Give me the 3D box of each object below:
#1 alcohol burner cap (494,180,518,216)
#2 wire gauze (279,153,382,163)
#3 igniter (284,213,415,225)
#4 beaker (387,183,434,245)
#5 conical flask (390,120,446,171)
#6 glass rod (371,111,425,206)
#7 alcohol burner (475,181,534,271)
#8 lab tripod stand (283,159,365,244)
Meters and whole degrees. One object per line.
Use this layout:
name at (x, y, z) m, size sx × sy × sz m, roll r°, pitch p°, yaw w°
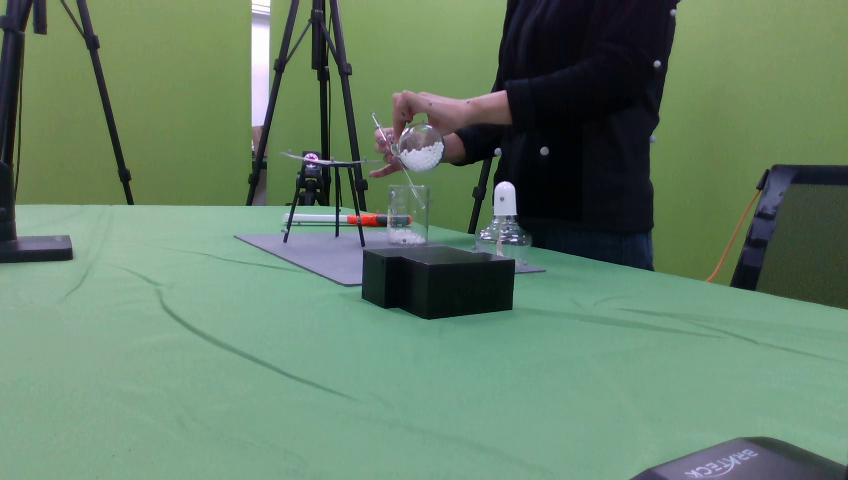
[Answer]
alcohol burner cap at (0.108, -0.055, 0.800) m, size 0.034 × 0.048 × 0.034 m, roll -2°, pitch 4°, yaw 0°
wire gauze at (-0.149, -0.129, 0.974) m, size 0.124 × 0.011 × 0.122 m, roll 10°, pitch 9°, yaw 41°
igniter at (-0.154, -0.045, 1.282) m, size 0.278 × 0.025 × 0.057 m, roll 0°, pitch -3°, yaw -20°
beaker at (-0.027, -0.044, 1.012) m, size 0.074 × 0.100 × 0.083 m, roll -2°, pitch 8°, yaw -34°
conical flask at (-0.019, -0.149, 0.955) m, size 0.075 × 0.075 × 0.121 m, roll -1°, pitch 9°, yaw -20°
glass rod at (-0.045, -0.139, 1.017) m, size 0.008 × 0.199 × 0.008 m, roll -25°, pitch -18°, yaw -9°
alcohol burner at (0.108, -0.020, 0.804) m, size 0.078 × 0.119 × 0.078 m, roll 3°, pitch 5°, yaw 0°
lab tripod stand at (-0.151, -0.063, 0.983) m, size 0.148 × 0.131 × 0.148 m, roll 4°, pitch 7°, yaw 0°
